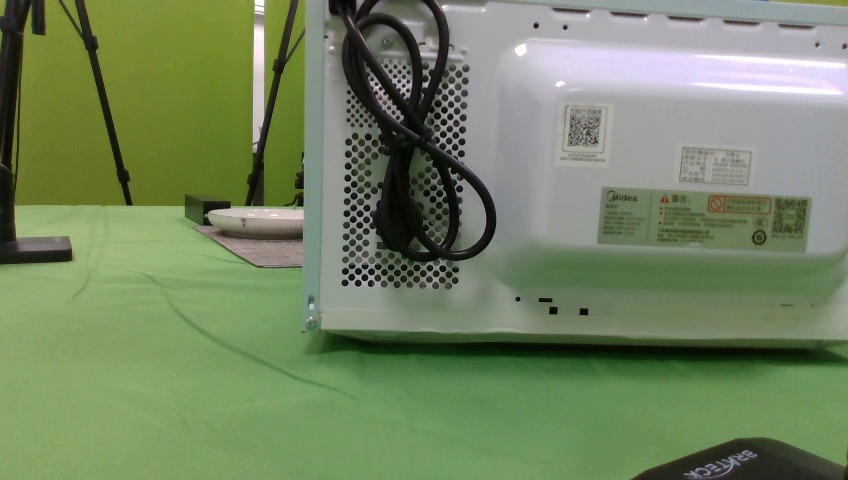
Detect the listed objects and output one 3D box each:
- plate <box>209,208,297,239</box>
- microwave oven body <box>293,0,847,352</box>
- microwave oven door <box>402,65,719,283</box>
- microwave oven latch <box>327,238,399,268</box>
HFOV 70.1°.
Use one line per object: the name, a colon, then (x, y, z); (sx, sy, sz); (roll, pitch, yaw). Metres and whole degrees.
plate: (-0.271, -0.029, 1.074); (0.208, 0.039, 0.207); (3, 7, 0)
microwave oven body: (0.122, -0.055, 0.550); (0.442, 0.260, 0.325); (3, 7, -5)
microwave oven door: (0.156, -0.081, 0.727); (0.356, 0.243, 0.039); (3, 8, 5)
microwave oven latch: (-0.069, 0.015, 0.694); (0.079, 0.029, 0.030); (3, 7, -3)
